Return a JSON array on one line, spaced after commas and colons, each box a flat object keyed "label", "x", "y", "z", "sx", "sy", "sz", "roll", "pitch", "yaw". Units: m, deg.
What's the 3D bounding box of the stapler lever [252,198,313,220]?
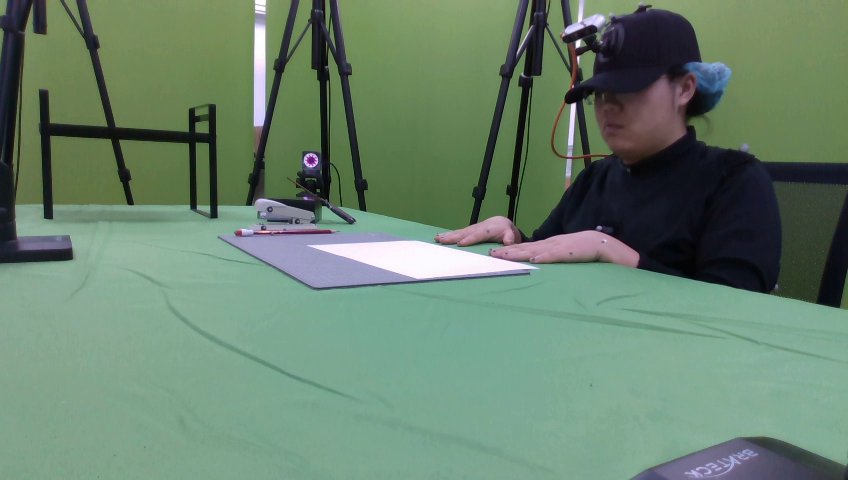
[{"label": "stapler lever", "x": -0.273, "y": -0.058, "z": 1.171, "sx": 0.119, "sy": 0.040, "sz": 0.026, "roll": 0, "pitch": 10, "yaw": -37}]

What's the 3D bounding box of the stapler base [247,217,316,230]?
[{"label": "stapler base", "x": -0.276, "y": -0.033, "z": 1.172, "sx": 0.131, "sy": 0.024, "sz": 0.041, "roll": 0, "pitch": 10, "yaw": -37}]

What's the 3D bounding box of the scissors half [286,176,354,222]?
[{"label": "scissors half", "x": -0.229, "y": -0.091, "z": 1.337, "sx": 0.175, "sy": 0.013, "sz": 0.040, "roll": 33, "pitch": 15, "yaw": -13}]

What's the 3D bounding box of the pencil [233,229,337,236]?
[{"label": "pencil", "x": -0.240, "y": -0.014, "z": 1.066, "sx": 0.195, "sy": 0.012, "sz": 0.012, "roll": -1, "pitch": 8, "yaw": -37}]

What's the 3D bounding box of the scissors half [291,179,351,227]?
[{"label": "scissors half", "x": -0.232, "y": -0.085, "z": 1.318, "sx": 0.175, "sy": 0.013, "sz": 0.040, "roll": 38, "pitch": 20, "yaw": 4}]
